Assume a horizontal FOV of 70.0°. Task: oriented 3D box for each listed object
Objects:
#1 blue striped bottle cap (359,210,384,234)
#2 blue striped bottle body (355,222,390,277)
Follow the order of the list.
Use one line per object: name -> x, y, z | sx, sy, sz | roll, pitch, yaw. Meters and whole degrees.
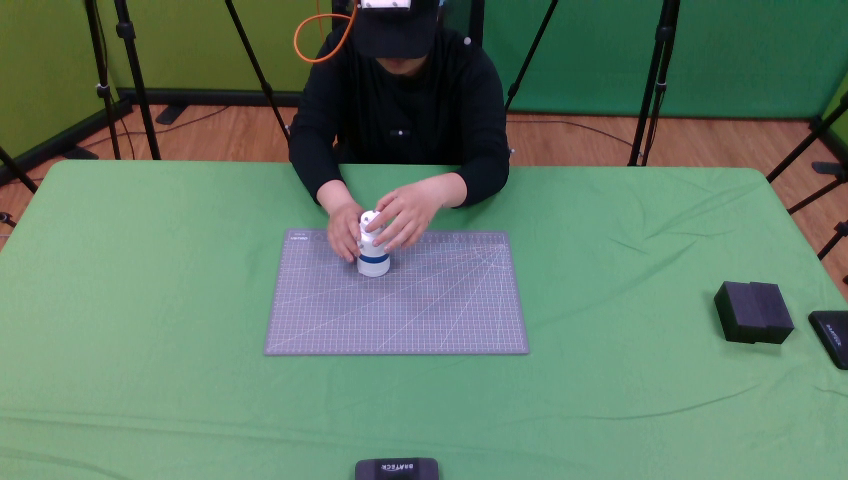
blue striped bottle cap -> -0.092, -0.032, 1.073 | 0.044, 0.021, 0.044 | 4, 44, -4
blue striped bottle body -> -0.095, 0.007, 1.112 | 0.063, 0.121, 0.062 | 2, 46, -2
